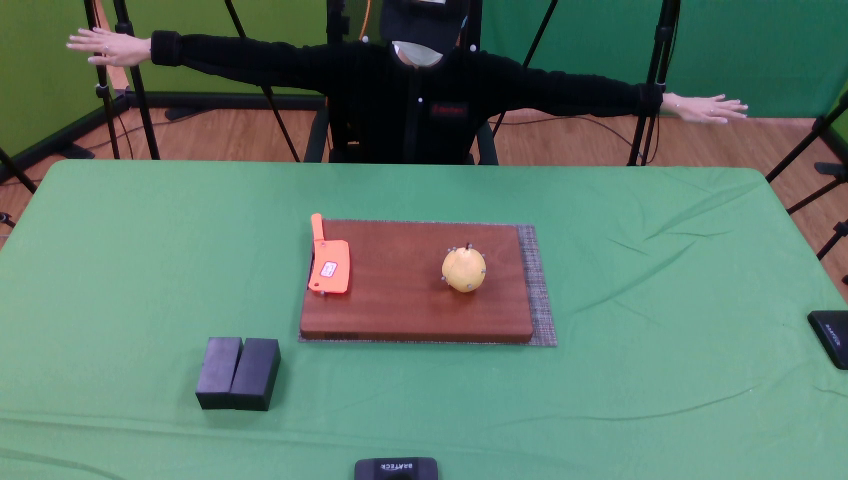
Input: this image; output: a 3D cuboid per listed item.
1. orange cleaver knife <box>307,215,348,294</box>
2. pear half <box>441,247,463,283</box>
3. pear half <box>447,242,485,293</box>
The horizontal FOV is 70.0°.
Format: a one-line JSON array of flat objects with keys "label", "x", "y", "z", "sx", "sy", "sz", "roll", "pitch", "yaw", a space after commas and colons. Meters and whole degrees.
[{"label": "orange cleaver knife", "x": -0.180, "y": 0.023, "z": 1.126, "sx": 0.077, "sy": 0.012, "sz": 0.210, "roll": -6, "pitch": 44, "yaw": -6}, {"label": "pear half", "x": 0.050, "y": 0.039, "z": 1.079, "sx": 0.031, "sy": 0.088, "sz": 0.070, "roll": 24, "pitch": 54, "yaw": 17}, {"label": "pear half", "x": 0.080, "y": 0.047, "z": 1.059, "sx": 0.056, "sy": 0.110, "sz": 0.076, "roll": 24, "pitch": 54, "yaw": 19}]
